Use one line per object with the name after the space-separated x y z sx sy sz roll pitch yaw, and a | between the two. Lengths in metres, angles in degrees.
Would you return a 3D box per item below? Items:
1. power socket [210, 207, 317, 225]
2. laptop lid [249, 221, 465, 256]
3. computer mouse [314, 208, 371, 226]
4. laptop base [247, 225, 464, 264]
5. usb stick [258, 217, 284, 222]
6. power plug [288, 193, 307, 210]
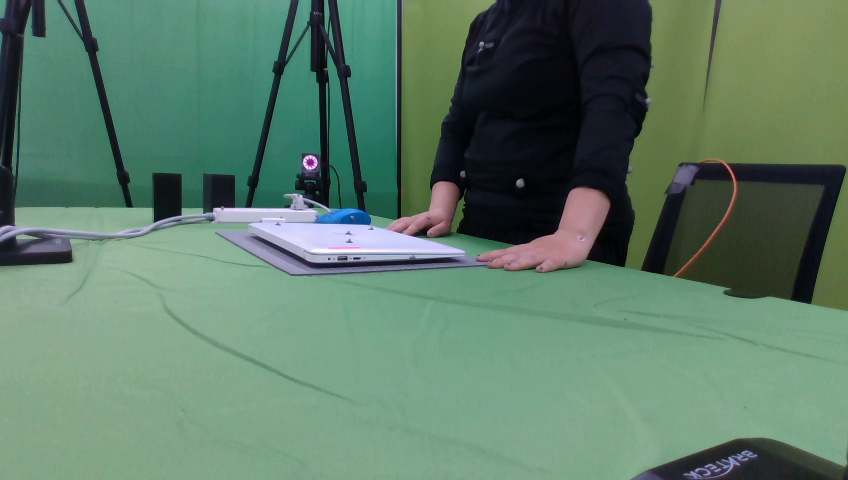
-0.335 -0.051 1.281 0.228 0.032 0.072 -1 8 -28 | power socket
-0.122 -0.005 0.955 0.243 0.013 0.355 1 7 -28 | laptop lid
-0.175 -0.047 1.292 0.118 0.041 0.062 -8 14 -34 | computer mouse
-0.124 0.006 0.955 0.237 0.023 0.352 2 6 -30 | laptop base
-0.291 -0.028 1.119 0.059 0.027 0.021 -3 12 -29 | usb stick
-0.281 -0.076 1.341 0.035 0.052 0.072 3 6 -18 | power plug
